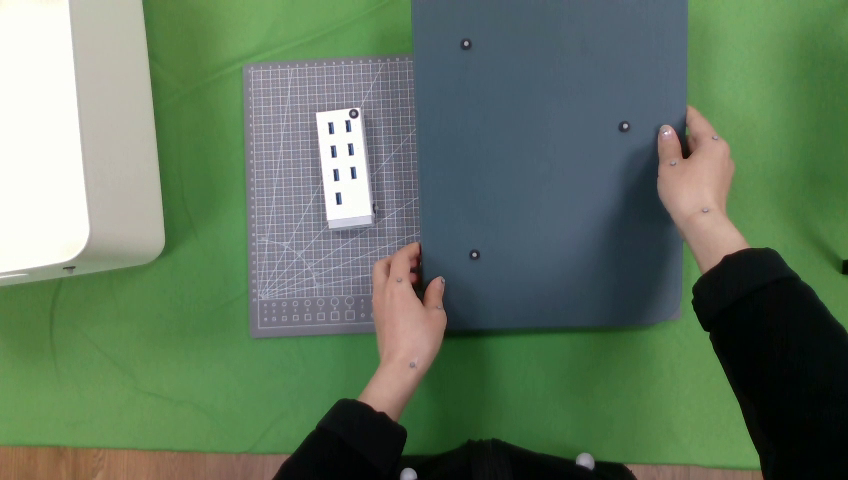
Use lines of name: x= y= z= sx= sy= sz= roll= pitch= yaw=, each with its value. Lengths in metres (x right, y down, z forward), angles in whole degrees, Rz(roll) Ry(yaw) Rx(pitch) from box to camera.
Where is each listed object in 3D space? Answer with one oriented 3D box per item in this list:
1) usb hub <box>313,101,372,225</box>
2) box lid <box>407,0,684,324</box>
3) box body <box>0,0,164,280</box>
usb hub: x=-0.085 y=-0.081 z=0.639 sx=0.049 sy=0.025 sz=0.125 roll=-7 pitch=86 yaw=2
box lid: x=0.120 y=-0.096 z=0.596 sx=0.263 sy=0.015 sz=0.372 roll=-2 pitch=98 yaw=2
box body: x=-0.421 y=-0.142 z=0.595 sx=0.254 sy=0.160 sz=0.363 roll=-8 pitch=86 yaw=2
